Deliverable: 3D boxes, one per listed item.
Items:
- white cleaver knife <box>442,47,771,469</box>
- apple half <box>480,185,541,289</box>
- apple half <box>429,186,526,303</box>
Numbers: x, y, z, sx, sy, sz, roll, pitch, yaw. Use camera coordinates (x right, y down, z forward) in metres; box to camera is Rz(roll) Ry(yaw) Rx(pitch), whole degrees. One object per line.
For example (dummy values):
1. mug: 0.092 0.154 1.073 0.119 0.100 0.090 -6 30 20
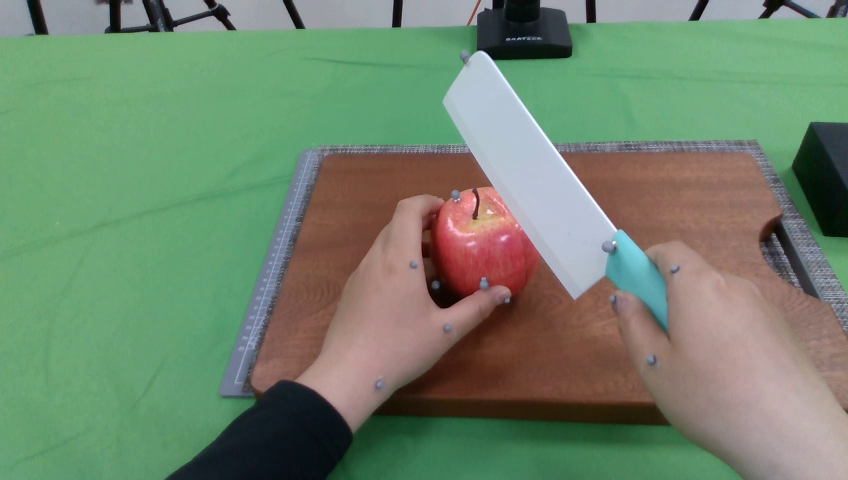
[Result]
1. white cleaver knife: 0.094 0.001 0.358 0.021 0.066 0.284 -18 66 -32
2. apple half: 0.067 -0.005 0.439 0.033 0.082 0.080 -22 47 -12
3. apple half: 0.031 0.009 0.430 0.053 0.075 0.080 -22 50 -12
